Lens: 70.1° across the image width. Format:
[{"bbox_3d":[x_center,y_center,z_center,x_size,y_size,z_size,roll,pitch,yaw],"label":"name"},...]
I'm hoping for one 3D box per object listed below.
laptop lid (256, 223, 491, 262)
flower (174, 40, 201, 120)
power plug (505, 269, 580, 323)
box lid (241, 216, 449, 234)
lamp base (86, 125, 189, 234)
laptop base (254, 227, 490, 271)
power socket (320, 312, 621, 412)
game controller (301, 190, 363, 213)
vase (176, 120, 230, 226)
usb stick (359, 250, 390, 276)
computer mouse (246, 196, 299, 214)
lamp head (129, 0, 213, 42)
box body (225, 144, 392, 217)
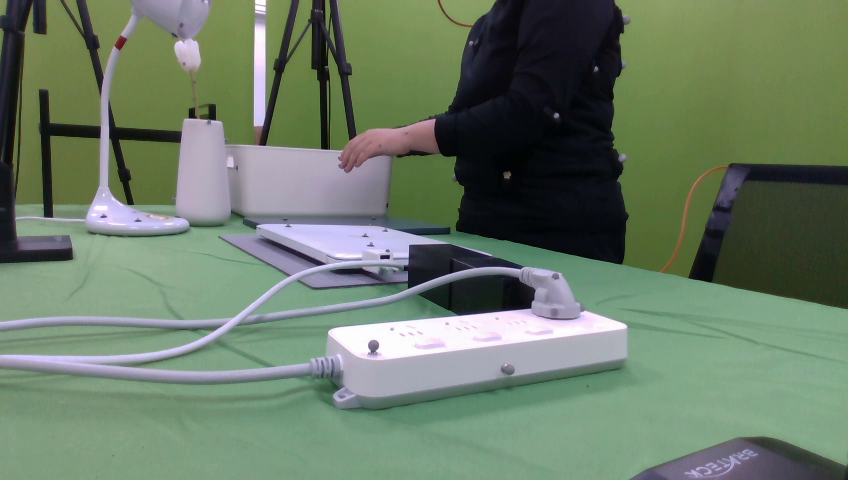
[{"bbox_3d":[-0.092,0.000,0.912,0.243,0.013,0.355,2,7,-30],"label":"laptop lid"},{"bbox_3d":[-0.430,-0.211,1.165,0.044,0.361,0.038,-10,-5,-23],"label":"flower"},{"bbox_3d":[0.092,0.051,0.470,0.035,0.052,0.072,0,6,-16],"label":"power plug"},{"bbox_3d":[-0.162,-0.030,1.233,0.373,0.015,0.262,-1,8,-32],"label":"box lid"},{"bbox_3d":[-0.497,-0.105,1.027,0.179,0.180,0.160,1,7,3],"label":"lamp base"},{"bbox_3d":[-0.095,0.012,0.912,0.237,0.023,0.352,2,7,-32],"label":"laptop base"},{"bbox_3d":[0.038,0.075,0.409,0.228,0.032,0.072,-2,8,-29],"label":"power socket"},{"bbox_3d":[-0.240,-0.099,1.550,0.155,0.051,0.097,3,12,5],"label":"game controller"},{"bbox_3d":[-0.425,-0.128,1.159,0.098,0.200,0.098,2,9,0],"label":"vase"},{"bbox_3d":[-0.061,0.026,0.709,0.021,0.027,0.059,-2,3,-29],"label":"usb stick"},{"bbox_3d":[-0.354,-0.083,1.418,0.117,0.041,0.063,0,10,7],"label":"computer mouse"},{"bbox_3d":[-0.423,-0.394,0.980,0.123,0.112,0.112,20,7,-3],"label":"lamp head"},{"bbox_3d":[-0.289,-0.143,1.475,0.366,0.160,0.253,-1,9,-29],"label":"box body"}]
